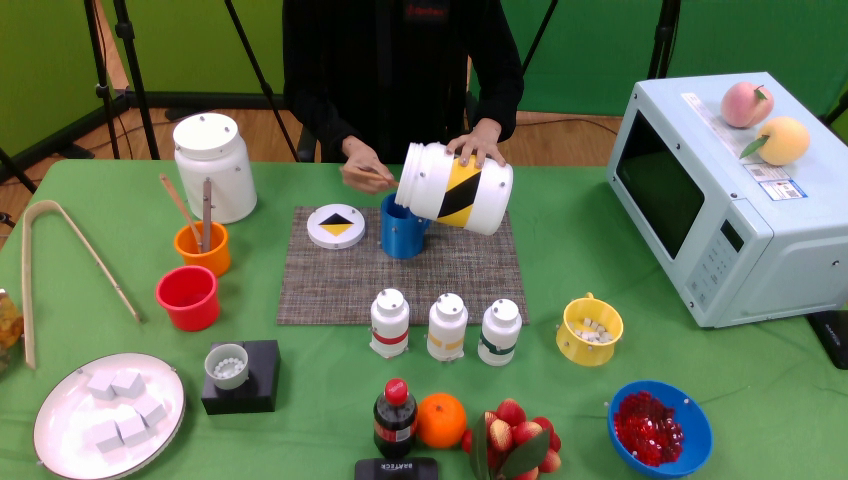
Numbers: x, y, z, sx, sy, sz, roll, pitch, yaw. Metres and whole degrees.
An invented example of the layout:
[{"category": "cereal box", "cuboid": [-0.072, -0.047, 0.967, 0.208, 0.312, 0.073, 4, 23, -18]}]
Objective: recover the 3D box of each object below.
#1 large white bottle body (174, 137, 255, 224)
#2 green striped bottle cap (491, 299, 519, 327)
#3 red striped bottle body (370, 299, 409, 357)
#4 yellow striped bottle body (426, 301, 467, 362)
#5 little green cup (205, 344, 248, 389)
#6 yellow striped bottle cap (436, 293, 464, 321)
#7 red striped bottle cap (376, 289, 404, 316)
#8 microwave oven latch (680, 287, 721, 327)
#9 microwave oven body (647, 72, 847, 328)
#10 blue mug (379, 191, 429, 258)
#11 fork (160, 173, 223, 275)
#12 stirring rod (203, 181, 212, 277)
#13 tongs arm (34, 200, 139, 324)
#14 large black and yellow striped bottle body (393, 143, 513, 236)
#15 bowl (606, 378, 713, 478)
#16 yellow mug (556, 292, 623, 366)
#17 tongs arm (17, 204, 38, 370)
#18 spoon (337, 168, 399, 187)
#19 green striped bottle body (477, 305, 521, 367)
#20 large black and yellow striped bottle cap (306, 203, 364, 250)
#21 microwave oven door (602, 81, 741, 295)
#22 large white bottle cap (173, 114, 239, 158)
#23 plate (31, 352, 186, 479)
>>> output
[{"category": "large white bottle body", "cuboid": [-0.408, -0.136, 1.183, 0.131, 0.185, 0.130, 2, 46, -2]}, {"category": "green striped bottle cap", "cuboid": [0.128, 0.115, 0.958, 0.044, 0.020, 0.044, 1, 46, 0]}, {"category": "red striped bottle body", "cuboid": [-0.057, 0.135, 0.997, 0.063, 0.120, 0.062, 2, 47, -2]}, {"category": "yellow striped bottle body", "cuboid": [0.037, 0.142, 0.996, 0.063, 0.121, 0.062, 2, 46, -2]}, {"category": "little green cup", "cuboid": [-0.294, 0.191, 0.909, 0.061, 0.039, 0.061, 2, 48, -1]}, {"category": "yellow striped bottle cap", "cuboid": [0.041, 0.106, 0.959, 0.044, 0.019, 0.044, 0, 50, 1]}, {"category": "red striped bottle cap", "cuboid": [-0.054, 0.098, 0.958, 0.044, 0.018, 0.044, 0, 48, 0]}, {"category": "microwave oven latch", "cuboid": [0.494, 0.120, 1.087, 0.030, 0.029, 0.078, -7, 46, -10]}, {"category": "microwave oven body", "cuboid": [0.607, -0.089, 1.164, 0.326, 0.261, 0.438, -7, 46, -10]}, {"category": "blue mug", "cuboid": [-0.031, -0.036, 1.167, 0.116, 0.106, 0.082, -28, 54, -27]}, {"category": "fork", "cuboid": [-0.426, -0.030, 1.103, 0.028, 0.018, 0.207, -30, 99, -22]}, {"category": "stirring rod", "cuboid": [-0.396, -0.021, 1.107, 0.014, 0.006, 0.176, -1, 89, -1]}, {"category": "tongs arm", "cuboid": [-0.622, 0.034, 1.105, 0.051, 0.026, 0.382, -32, 55, -26]}, {"category": "large black and yellow striped bottle body", "cuboid": [0.048, -0.091, 1.049, 0.184, 0.131, 0.130, 15, 46, -4]}, {"category": "bowl", "cuboid": [0.340, 0.292, 0.906, 0.151, 0.077, 0.150, 2, 46, -2]}, {"category": "yellow mug", "cuboid": [0.285, 0.145, 1.051, 0.100, 0.064, 0.130, 7, 45, 3]}, {"category": "tongs arm", "cuboid": [-0.698, 0.069, 1.068, 0.028, 0.028, 0.385, -20, 50, -13]}, {"category": "spoon", "cuboid": [-0.059, -0.099, 1.061, 0.194, 0.022, 0.041, 18, 23, -22]}, {"category": "green striped bottle body", "cuboid": [0.124, 0.151, 0.995, 0.063, 0.120, 0.063, 2, 46, -2]}, {"category": "large black and yellow striped bottle cap", "cuboid": [-0.178, -0.029, 1.211, 0.115, 0.019, 0.114, 2, 47, -2]}, {"category": "microwave oven door", "cuboid": [0.456, -0.107, 1.162, 0.039, 0.245, 0.353, -7, 47, -11]}, {"category": "large white bottle cap", "cuboid": [-0.403, -0.195, 1.122, 0.115, 0.018, 0.114, 2, 47, -2]}, {"category": "plate", "cuboid": [-0.459, 0.262, 0.898, 0.209, 0.038, 0.208, 2, 46, -2]}]
